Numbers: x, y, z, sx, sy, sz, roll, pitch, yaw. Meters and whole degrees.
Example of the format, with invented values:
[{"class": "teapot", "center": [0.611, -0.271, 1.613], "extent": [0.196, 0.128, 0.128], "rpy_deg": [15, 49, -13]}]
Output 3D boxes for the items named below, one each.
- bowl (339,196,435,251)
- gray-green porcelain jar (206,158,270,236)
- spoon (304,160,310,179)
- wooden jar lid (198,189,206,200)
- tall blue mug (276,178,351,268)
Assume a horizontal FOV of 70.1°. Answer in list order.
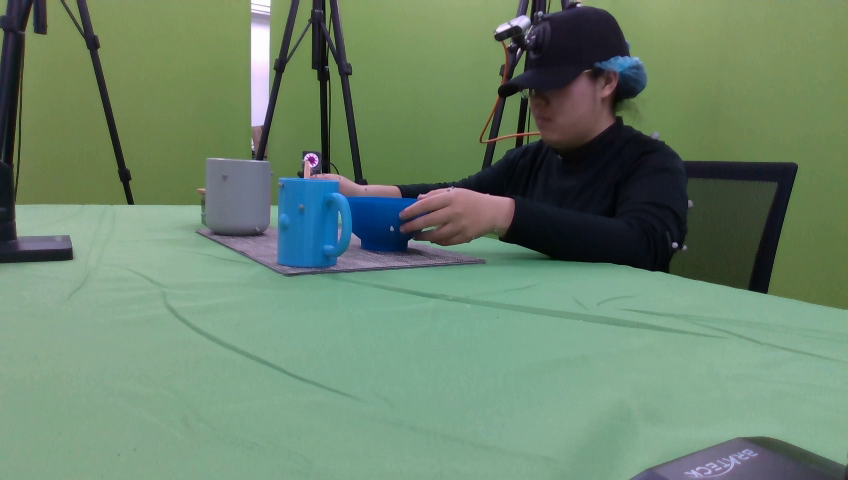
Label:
[{"class": "bowl", "center": [-0.061, -0.026, 0.943], "extent": [0.151, 0.077, 0.151], "rpy_deg": [3, 7, 0]}, {"class": "gray-green porcelain jar", "center": [-0.317, -0.074, 1.031], "extent": [0.106, 0.126, 0.106], "rpy_deg": [3, 7, 0]}, {"class": "spoon", "center": [-0.244, -0.103, 1.251], "extent": [0.042, 0.021, 0.193], "rpy_deg": [0, 51, -6]}, {"class": "wooden jar lid", "center": [-0.382, -0.088, 1.175], "extent": [0.108, 0.020, 0.108], "rpy_deg": [3, 8, 0]}, {"class": "tall blue mug", "center": [-0.133, -0.023, 0.767], "extent": [0.107, 0.108, 0.078], "rpy_deg": [4, 7, 12]}]
